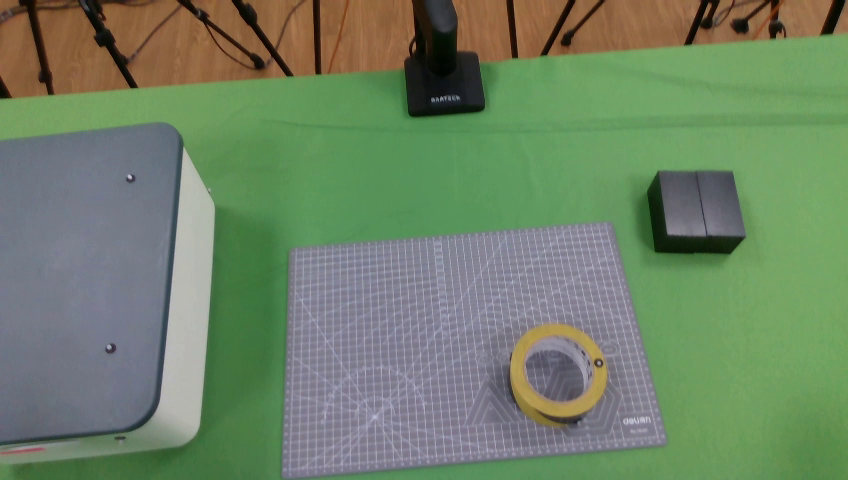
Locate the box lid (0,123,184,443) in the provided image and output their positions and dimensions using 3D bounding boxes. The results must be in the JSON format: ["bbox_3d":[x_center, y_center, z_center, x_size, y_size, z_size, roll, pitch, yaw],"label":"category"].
[{"bbox_3d":[-0.405,0.029,0.661,0.263,0.015,0.368,-6,64,-1],"label":"box lid"}]

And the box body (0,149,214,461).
[{"bbox_3d":[-0.403,0.065,0.725,0.254,0.161,0.360,-6,63,-2],"label":"box body"}]

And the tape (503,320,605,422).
[{"bbox_3d":[0.155,0.157,0.722,0.117,0.053,0.116,-1,63,2],"label":"tape"}]
